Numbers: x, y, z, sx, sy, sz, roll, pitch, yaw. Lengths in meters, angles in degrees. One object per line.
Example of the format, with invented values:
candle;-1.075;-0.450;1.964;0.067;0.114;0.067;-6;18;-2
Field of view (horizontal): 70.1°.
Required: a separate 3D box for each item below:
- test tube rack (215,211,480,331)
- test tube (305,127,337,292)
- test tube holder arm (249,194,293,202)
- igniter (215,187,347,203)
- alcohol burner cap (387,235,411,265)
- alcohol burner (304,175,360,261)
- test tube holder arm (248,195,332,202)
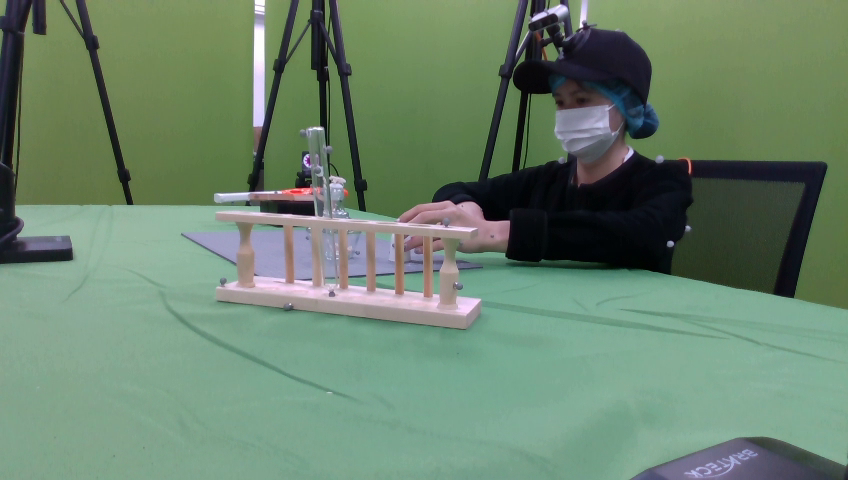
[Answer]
test tube rack;-0.071;0.023;0.565;0.242;0.085;0.067;5;7;16
test tube;-0.092;-0.026;0.546;0.017;0.150;0.017;-4;8;1
test tube holder arm;-0.303;-0.083;1.200;0.088;0.015;0.010;-3;4;-35
igniter;-0.293;-0.095;1.267;0.278;0.025;0.057;-6;12;-33
alcohol burner cap;-0.034;0.009;0.840;0.034;0.048;0.034;2;8;0
alcohol burner;-0.126;-0.031;0.838;0.078;0.119;0.078;3;5;0
test tube holder arm;-0.270;-0.085;1.231;0.179;0.015;0.013;-3;4;-36
